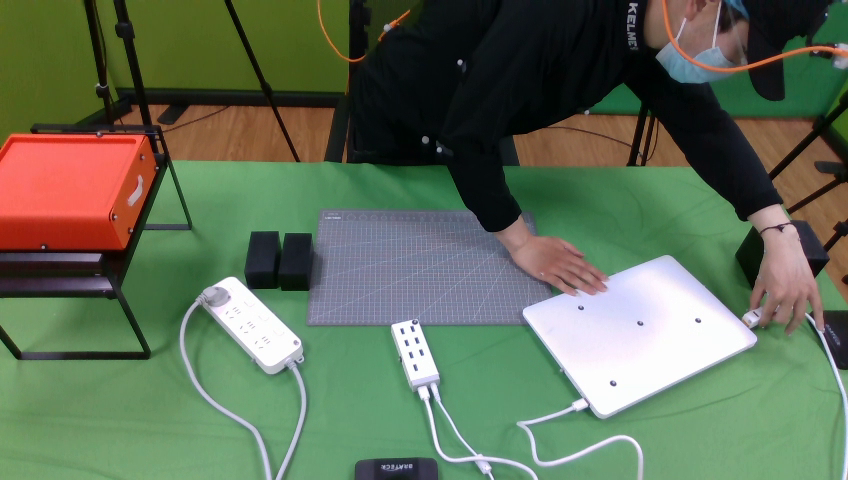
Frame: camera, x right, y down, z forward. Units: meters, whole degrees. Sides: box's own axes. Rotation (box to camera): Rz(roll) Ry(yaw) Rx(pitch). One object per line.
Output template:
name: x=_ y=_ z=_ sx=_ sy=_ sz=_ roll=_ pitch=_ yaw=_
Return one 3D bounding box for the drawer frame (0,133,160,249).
drawer frame: x=-0.552 y=-0.078 z=0.942 sx=0.214 sy=0.083 sz=0.200 roll=-1 pitch=47 yaw=-4

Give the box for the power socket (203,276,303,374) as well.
power socket: x=-0.296 y=0.142 z=1.034 sx=0.225 sy=0.033 sz=0.072 roll=37 pitch=55 yaw=27

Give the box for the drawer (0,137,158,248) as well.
drawer: x=-0.549 y=-0.078 z=0.944 sx=0.212 sy=0.073 sz=0.193 roll=0 pitch=47 yaw=-3

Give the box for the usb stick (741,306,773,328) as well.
usb stick: x=0.593 y=0.141 z=1.090 sx=0.059 sy=0.027 sz=0.021 roll=-18 pitch=53 yaw=-12

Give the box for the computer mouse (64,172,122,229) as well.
computer mouse: x=-0.521 y=-0.066 z=0.955 sx=0.063 sy=0.041 sz=0.116 roll=1 pitch=49 yaw=-9

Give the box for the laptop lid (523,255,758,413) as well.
laptop lid: x=0.381 y=0.149 z=1.072 sx=0.357 sy=0.013 sz=0.240 roll=-16 pitch=47 yaw=-19

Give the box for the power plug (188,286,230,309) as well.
power plug: x=-0.369 y=0.104 z=1.039 sx=0.072 sy=0.053 sz=0.035 roll=-26 pitch=54 yaw=-23

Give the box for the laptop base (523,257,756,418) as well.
laptop base: x=0.381 y=0.160 z=1.081 sx=0.355 sy=0.023 sz=0.234 roll=-17 pitch=47 yaw=-21

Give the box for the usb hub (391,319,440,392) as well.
usb hub: x=-0.015 y=0.191 z=1.013 sx=0.049 sy=0.025 sz=0.124 roll=-11 pitch=48 yaw=-15
